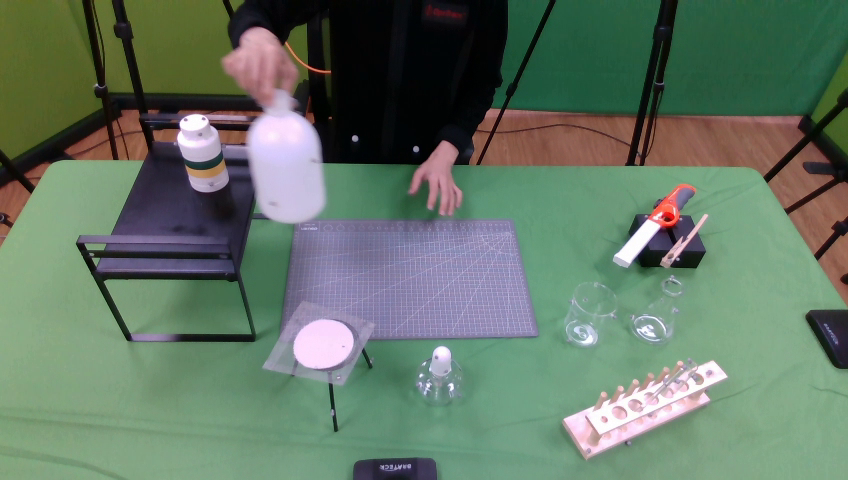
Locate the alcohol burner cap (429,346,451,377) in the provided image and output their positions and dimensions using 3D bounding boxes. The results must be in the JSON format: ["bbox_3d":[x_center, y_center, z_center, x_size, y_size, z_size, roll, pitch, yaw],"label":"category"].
[{"bbox_3d":[0.026,0.180,0.912,0.034,0.048,0.033,2,47,-1],"label":"alcohol burner cap"}]

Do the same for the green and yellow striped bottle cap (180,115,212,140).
[{"bbox_3d":[-0.358,-0.177,0.951,0.045,0.020,0.045,2,44,-2],"label":"green and yellow striped bottle cap"}]

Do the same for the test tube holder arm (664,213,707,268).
[{"bbox_3d":[0.507,-0.001,1.171,0.013,0.015,0.178,34,54,26],"label":"test tube holder arm"}]

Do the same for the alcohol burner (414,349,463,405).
[{"bbox_3d":[0.023,0.205,0.939,0.078,0.120,0.077,1,47,-1],"label":"alcohol burner"}]

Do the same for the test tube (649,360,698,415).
[{"bbox_3d":[0.365,0.222,0.898,0.017,0.151,0.017,4,49,-5],"label":"test tube"}]

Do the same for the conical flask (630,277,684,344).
[{"bbox_3d":[0.408,0.117,1.045,0.075,0.122,0.075,2,46,-2],"label":"conical flask"}]

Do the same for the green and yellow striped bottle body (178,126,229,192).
[{"bbox_3d":[-0.361,-0.142,0.989,0.063,0.120,0.063,2,46,-2],"label":"green and yellow striped bottle body"}]

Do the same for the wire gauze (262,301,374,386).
[{"bbox_3d":[-0.150,0.148,0.873,0.121,0.011,0.124,14,46,12],"label":"wire gauze"}]

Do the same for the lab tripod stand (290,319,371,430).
[{"bbox_3d":[-0.146,0.194,0.923,0.148,0.132,0.147,1,47,-1],"label":"lab tripod stand"}]

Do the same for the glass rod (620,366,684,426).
[{"bbox_3d":[0.322,0.227,0.866,0.008,0.200,0.008,5,51,-7],"label":"glass rod"}]

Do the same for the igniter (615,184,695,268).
[{"bbox_3d":[0.459,-0.035,1.197,0.057,0.025,0.276,32,55,27],"label":"igniter"}]

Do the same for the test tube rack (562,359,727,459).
[{"bbox_3d":[0.341,0.247,0.940,0.243,0.085,0.066,-16,49,-19],"label":"test tube rack"}]

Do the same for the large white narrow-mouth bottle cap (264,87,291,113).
[{"bbox_3d":[-0.207,-0.197,0.852,0.038,0.024,0.037,2,37,-1],"label":"large white narrow-mouth bottle cap"}]

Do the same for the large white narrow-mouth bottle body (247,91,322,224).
[{"bbox_3d":[-0.210,-0.127,0.903,0.102,0.195,0.101,1,37,-1],"label":"large white narrow-mouth bottle body"}]

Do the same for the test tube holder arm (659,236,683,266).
[{"bbox_3d":[0.472,0.020,1.149,0.010,0.015,0.088,35,54,27],"label":"test tube holder arm"}]

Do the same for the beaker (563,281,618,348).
[{"bbox_3d":[0.283,0.129,1.041,0.074,0.101,0.083,11,46,6],"label":"beaker"}]
